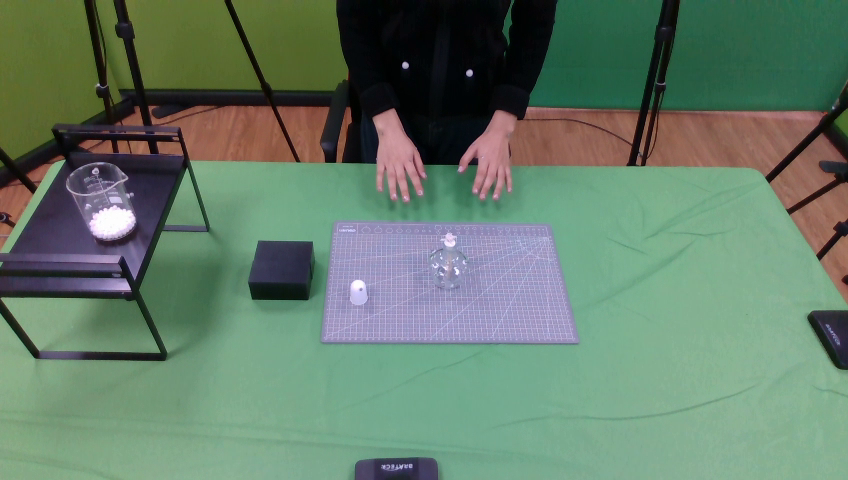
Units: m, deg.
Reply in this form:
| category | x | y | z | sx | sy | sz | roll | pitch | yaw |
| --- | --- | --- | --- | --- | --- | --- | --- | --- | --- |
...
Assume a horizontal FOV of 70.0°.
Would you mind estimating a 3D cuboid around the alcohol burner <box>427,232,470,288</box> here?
| category | x | y | z | sx | sy | sz | roll | pitch | yaw |
| --- | --- | --- | --- | --- | --- | --- | --- | --- | --- |
| alcohol burner | 0.045 | 0.032 | 1.099 | 0.078 | 0.120 | 0.077 | 1 | 46 | 0 |

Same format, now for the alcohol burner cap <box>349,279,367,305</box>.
| category | x | y | z | sx | sy | sz | roll | pitch | yaw |
| --- | --- | --- | --- | --- | --- | --- | --- | --- | --- |
| alcohol burner cap | -0.118 | 0.090 | 1.082 | 0.034 | 0.048 | 0.033 | 2 | 47 | -1 |

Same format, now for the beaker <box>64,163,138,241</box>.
| category | x | y | z | sx | sy | sz | roll | pitch | yaw |
| --- | --- | --- | --- | --- | --- | --- | --- | --- | --- |
| beaker | -0.477 | -0.055 | 0.910 | 0.084 | 0.101 | 0.073 | -9 | 48 | -13 |
